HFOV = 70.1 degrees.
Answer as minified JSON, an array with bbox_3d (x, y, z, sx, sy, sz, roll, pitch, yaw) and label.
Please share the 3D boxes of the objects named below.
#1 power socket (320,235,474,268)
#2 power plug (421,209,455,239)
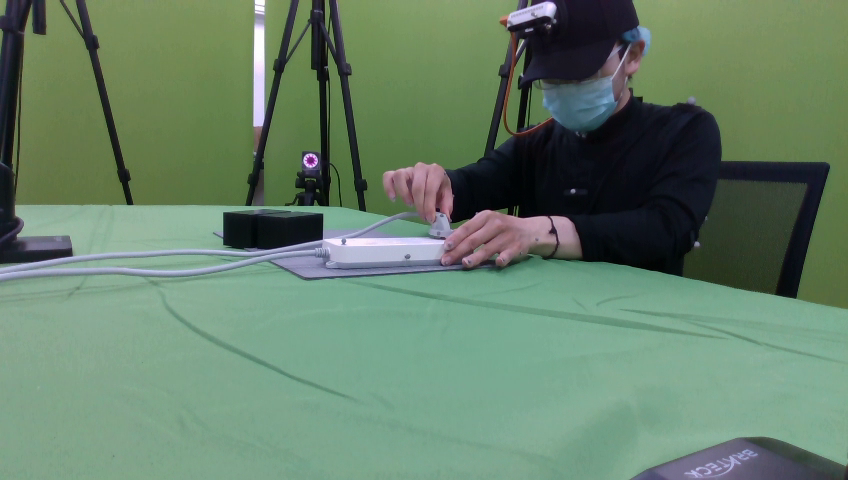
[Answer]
[{"bbox_3d":[-0.033,0.013,0.823,0.228,0.032,0.072,-2,8,-30],"label":"power socket"},{"bbox_3d":[0.020,-0.017,0.883,0.035,0.052,0.072,2,10,-18],"label":"power plug"}]
